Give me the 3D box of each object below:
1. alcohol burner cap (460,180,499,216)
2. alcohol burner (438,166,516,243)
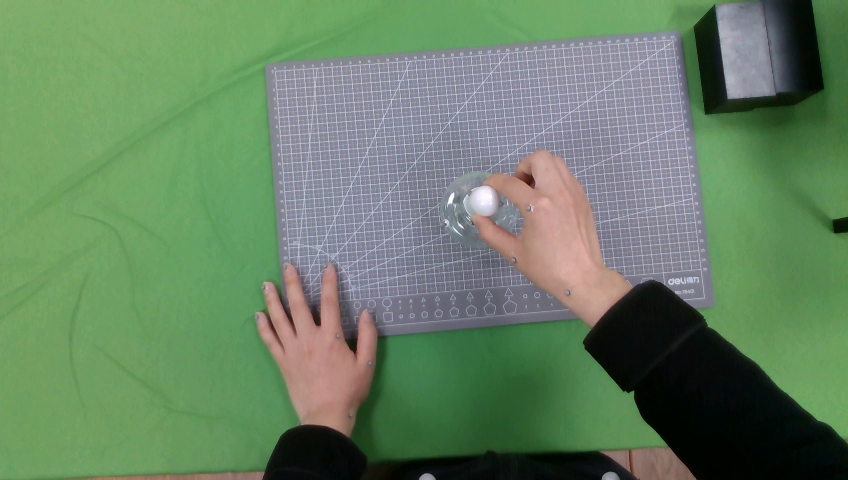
[{"bbox_3d":[0.052,-0.040,0.548,0.034,0.048,0.034,0,89,-5],"label":"alcohol burner cap"},{"bbox_3d":[0.052,-0.037,0.584,0.078,0.119,0.078,0,87,1],"label":"alcohol burner"}]
